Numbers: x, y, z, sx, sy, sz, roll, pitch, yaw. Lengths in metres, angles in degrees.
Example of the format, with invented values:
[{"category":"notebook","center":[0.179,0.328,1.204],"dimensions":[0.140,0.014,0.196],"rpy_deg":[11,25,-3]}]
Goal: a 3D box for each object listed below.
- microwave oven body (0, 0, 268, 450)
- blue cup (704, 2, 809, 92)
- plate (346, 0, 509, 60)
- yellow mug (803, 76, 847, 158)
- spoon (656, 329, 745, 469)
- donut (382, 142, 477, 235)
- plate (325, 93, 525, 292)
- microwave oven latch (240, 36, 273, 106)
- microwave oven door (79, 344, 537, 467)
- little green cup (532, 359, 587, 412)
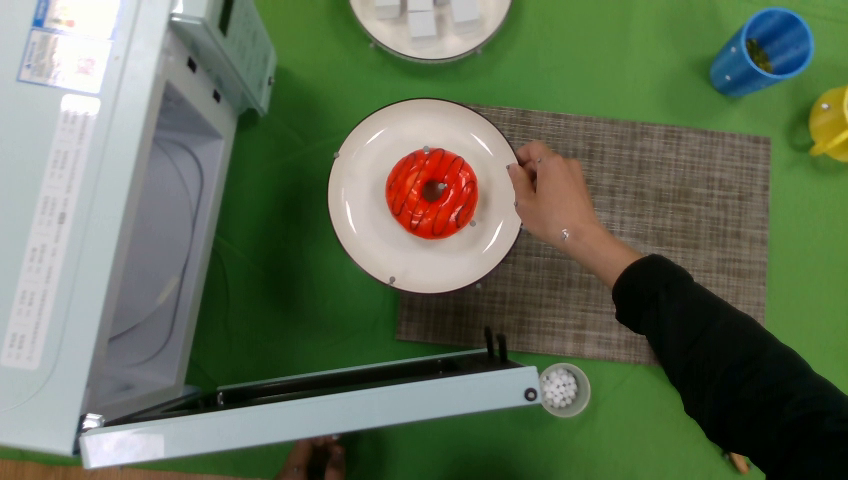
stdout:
[{"category":"microwave oven body","center":[-0.369,-0.061,0.595],"dimensions":[0.326,0.260,0.440],"rpy_deg":[9,84,-2]},{"category":"blue cup","center":[0.392,-0.224,0.734],"dimensions":[0.093,0.100,0.092],"rpy_deg":[0,85,-3]},{"category":"plate","center":[0.004,-0.320,0.756],"dimensions":[0.208,0.039,0.207],"rpy_deg":[0,84,-3]},{"category":"yellow mug","center":[0.528,-0.149,0.750],"dimensions":[0.131,0.064,0.100],"rpy_deg":[-36,86,-5]},{"category":"spoon","center":[0.332,0.192,0.723],"dimensions":[0.041,0.021,0.193],"rpy_deg":[-30,87,-21]},{"category":"donut","center":[0.006,-0.053,0.630],"dimensions":[0.099,0.048,0.099],"rpy_deg":[0,87,0]},{"category":"plate","center":[0.001,-0.049,0.640],"dimensions":[0.209,0.038,0.208],"rpy_deg":[0,86,-3]},{"category":"microwave oven latch","center":[-0.200,-0.201,0.715],"dimensions":[0.030,0.029,0.079],"rpy_deg":[13,84,-2]},{"category":"microwave oven door","center":[-0.090,0.147,0.582],"dimensions":[0.356,0.244,0.039],"rpy_deg":[-8,83,-3]},{"category":"little green cup","center":[0.156,0.169,0.711],"dimensions":[0.061,0.039,0.061],"rpy_deg":[0,81,-2]}]
